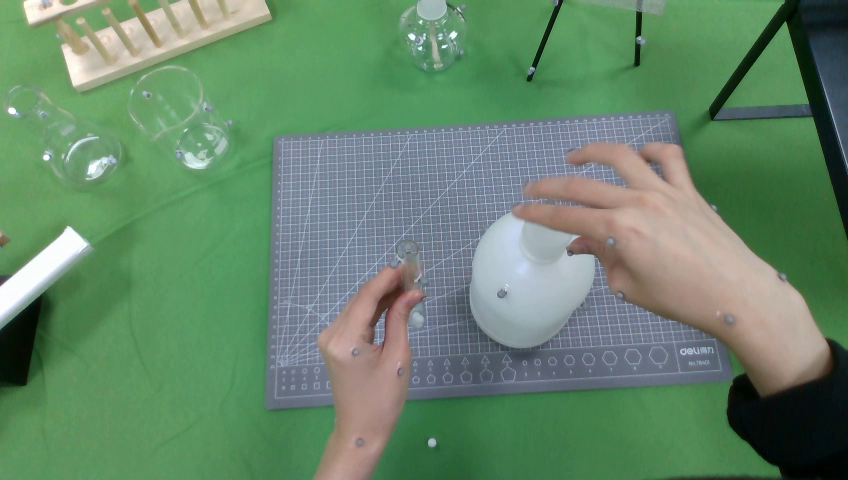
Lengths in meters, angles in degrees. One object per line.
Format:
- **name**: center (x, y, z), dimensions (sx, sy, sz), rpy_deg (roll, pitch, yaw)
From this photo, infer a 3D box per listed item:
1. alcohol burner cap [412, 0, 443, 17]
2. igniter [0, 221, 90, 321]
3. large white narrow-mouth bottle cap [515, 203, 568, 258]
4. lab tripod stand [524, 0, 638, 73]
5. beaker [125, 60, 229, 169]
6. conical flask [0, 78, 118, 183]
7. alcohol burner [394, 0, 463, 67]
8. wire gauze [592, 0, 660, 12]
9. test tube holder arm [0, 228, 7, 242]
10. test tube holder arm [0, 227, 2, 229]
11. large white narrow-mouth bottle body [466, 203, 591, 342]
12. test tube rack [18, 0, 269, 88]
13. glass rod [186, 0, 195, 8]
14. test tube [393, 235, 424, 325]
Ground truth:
- **alcohol burner cap**: center (0.003, -0.261, 0.632), dimensions (0.034, 0.048, 0.033), rpy_deg (0, 69, 1)
- **igniter**: center (-0.429, 0.088, 0.554), dimensions (0.057, 0.025, 0.276), rpy_deg (39, 73, 12)
- **large white narrow-mouth bottle cap**: center (0.084, -0.007, 0.430), dimensions (0.038, 0.024, 0.037), rpy_deg (-1, 71, 2)
- **lab tripod stand**: center (0.175, -0.256, 0.653), dimensions (0.148, 0.132, 0.147), rpy_deg (0, 69, 0)
- **beaker**: center (-0.254, -0.124, 0.636), dimensions (0.074, 0.101, 0.083), rpy_deg (11, 71, 6)
- **conical flask**: center (-0.379, -0.116, 0.623), dimensions (0.075, 0.122, 0.075), rpy_deg (-1, 70, 2)
- **alcohol burner**: center (0.005, -0.247, 0.665), dimensions (0.078, 0.120, 0.077), rpy_deg (0, 69, 0)
- **wire gauze**: center (0.180, -0.281, 0.591), dimensions (0.121, 0.011, 0.124), rpy_deg (17, 73, 6)
- **test tube holder arm**: center (-0.442, 0.021, 0.582), dimensions (0.010, 0.015, 0.087), rpy_deg (41, 75, 11)
- **test tube holder arm**: center (-0.476, 0.050, 0.571), dimensions (0.013, 0.015, 0.178), rpy_deg (39, 75, 11)
- **large white narrow-mouth bottle body**: center (0.089, 0.024, 0.522), dimensions (0.102, 0.196, 0.101), rpy_deg (-1, 71, 2)
- **test tube rack**: center (-0.313, -0.267, 0.694), dimensions (0.242, 0.086, 0.066), rpy_deg (-24, 71, -7)
- **glass rod**: center (-0.294, -0.325, 0.644), dimensions (0.008, 0.201, 0.008), rpy_deg (-3, 64, 7)
- **test tube**: center (-0.010, 0.036, 0.461), dimensions (0.017, 0.151, 0.017), rpy_deg (-1, 64, 2)
